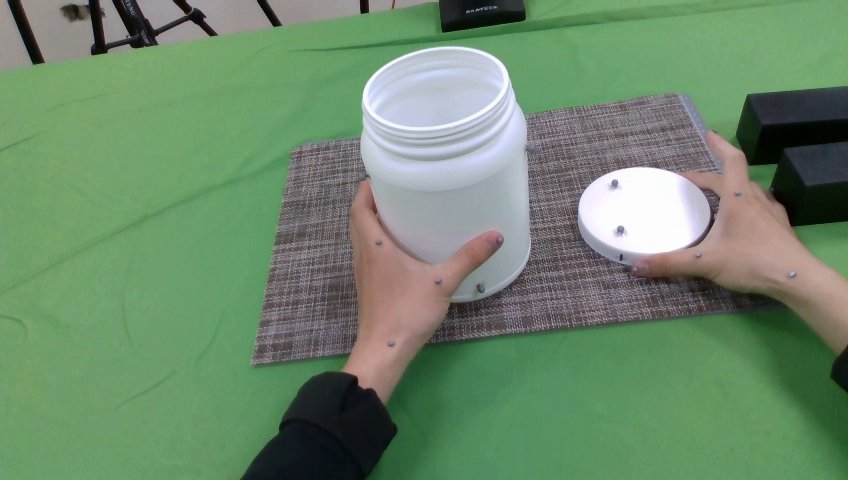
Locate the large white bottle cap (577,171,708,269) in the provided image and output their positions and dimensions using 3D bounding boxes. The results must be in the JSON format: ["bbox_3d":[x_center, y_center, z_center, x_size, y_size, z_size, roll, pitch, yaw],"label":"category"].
[{"bbox_3d":[0.200,-0.022,0.560,0.115,0.018,0.113,-5,47,6],"label":"large white bottle cap"}]

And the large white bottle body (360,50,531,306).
[{"bbox_3d":[0.021,-0.047,0.504,0.130,0.186,0.129,-6,46,7],"label":"large white bottle body"}]
